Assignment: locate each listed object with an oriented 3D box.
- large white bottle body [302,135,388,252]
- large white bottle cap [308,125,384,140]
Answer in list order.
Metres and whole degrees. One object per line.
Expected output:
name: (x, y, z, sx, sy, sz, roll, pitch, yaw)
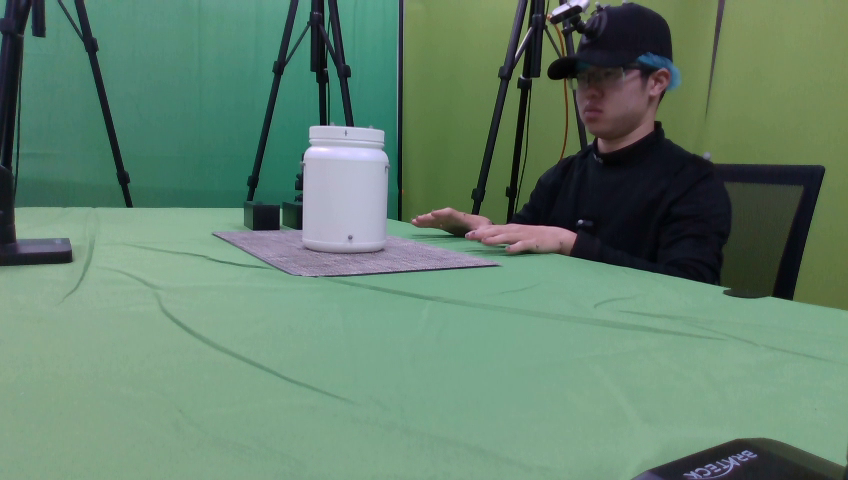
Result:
large white bottle body: (-0.122, -0.080, 0.937, 0.131, 0.184, 0.130, 2, 7, 0)
large white bottle cap: (-0.119, -0.163, 0.927, 0.115, 0.018, 0.115, 2, 6, 0)
